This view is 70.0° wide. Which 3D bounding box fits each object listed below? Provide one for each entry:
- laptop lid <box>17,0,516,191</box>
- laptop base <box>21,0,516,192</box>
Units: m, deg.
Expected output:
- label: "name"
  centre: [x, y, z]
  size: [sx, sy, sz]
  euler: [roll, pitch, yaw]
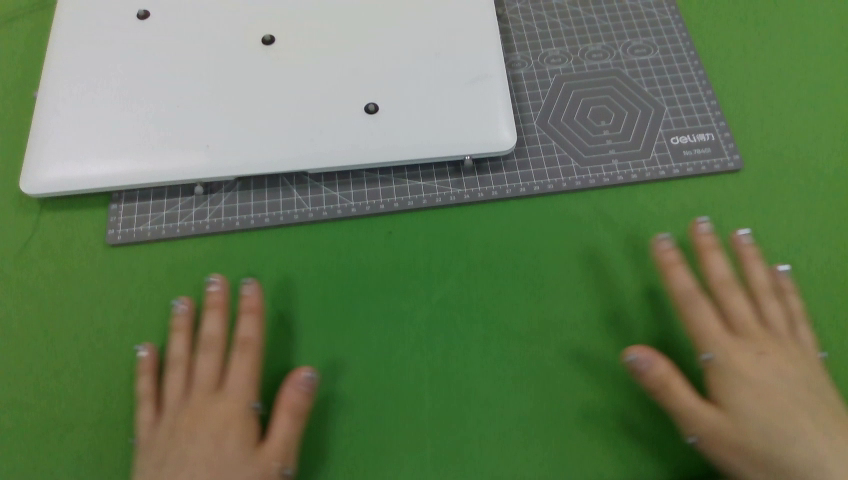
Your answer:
- label: "laptop lid"
  centre: [-0.119, -0.155, 0.466]
  size: [0.357, 0.013, 0.239]
  euler: [-4, 67, 0]
- label: "laptop base"
  centre: [-0.119, -0.152, 0.477]
  size: [0.354, 0.023, 0.233]
  euler: [-5, 68, -1]
